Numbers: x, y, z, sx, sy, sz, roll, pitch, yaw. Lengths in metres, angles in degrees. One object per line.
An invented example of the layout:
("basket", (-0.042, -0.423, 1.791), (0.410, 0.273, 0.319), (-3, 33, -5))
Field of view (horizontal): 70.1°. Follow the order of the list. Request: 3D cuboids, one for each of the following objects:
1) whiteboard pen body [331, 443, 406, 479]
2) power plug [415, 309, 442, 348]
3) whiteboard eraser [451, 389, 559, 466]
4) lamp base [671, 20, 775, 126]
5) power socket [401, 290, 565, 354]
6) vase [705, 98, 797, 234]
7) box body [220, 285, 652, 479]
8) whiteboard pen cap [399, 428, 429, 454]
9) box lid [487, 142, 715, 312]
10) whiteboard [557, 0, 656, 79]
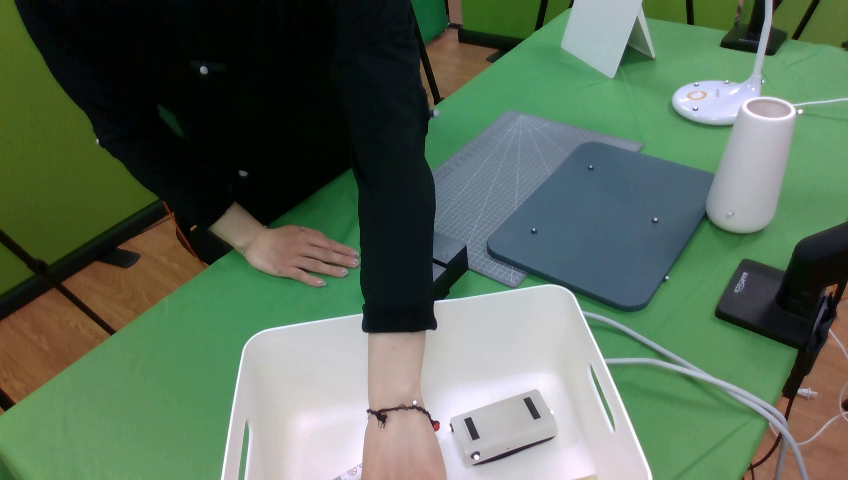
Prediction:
("whiteboard pen body", (-0.062, 0.254, 0.676), (0.141, 0.017, 0.017), (-23, 43, -20))
("power plug", (0.004, 0.121, 0.786), (0.035, 0.053, 0.072), (1, 45, 8))
("whiteboard eraser", (0.091, 0.213, 0.682), (0.113, 0.042, 0.055), (-17, 40, -7))
("lamp base", (0.582, -0.332, 1.154), (0.179, 0.181, 0.160), (2, 41, 7))
("power socket", (0.080, 0.111, 0.823), (0.227, 0.033, 0.072), (-6, 41, 1))
("vase", (0.481, -0.103, 0.888), (0.098, 0.201, 0.097), (-4, 42, 4))
("box body", (0.005, 0.211, 0.616), (0.364, 0.161, 0.252), (-9, 40, -2))
("whiteboard pen cap", (-0.012, 0.232, 0.695), (0.033, 0.018, 0.018), (-24, 43, -20))
("box lid", (0.299, -0.041, 0.986), (0.261, 0.015, 0.372), (23, 49, 30))
("whiteboard", (0.463, -0.542, 1.366), (0.145, 0.306, 0.215), (-3, 36, -25))
